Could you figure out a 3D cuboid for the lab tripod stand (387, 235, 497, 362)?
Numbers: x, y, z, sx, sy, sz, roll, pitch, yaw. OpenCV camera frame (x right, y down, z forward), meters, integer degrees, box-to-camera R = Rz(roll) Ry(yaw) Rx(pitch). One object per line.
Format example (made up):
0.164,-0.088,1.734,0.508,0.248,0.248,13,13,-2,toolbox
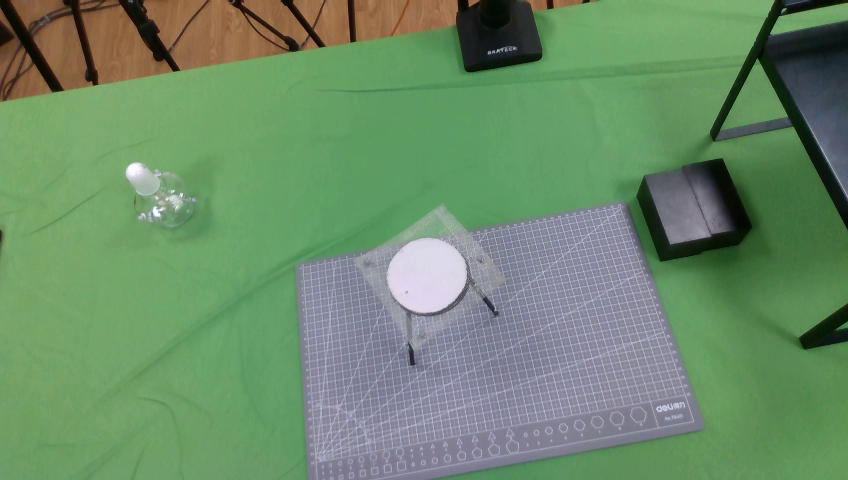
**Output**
0.009,0.060,0.705,0.148,0.132,0.147,-3,64,7,lab tripod stand

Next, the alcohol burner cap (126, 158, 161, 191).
-0.369,-0.088,0.790,0.034,0.048,0.033,0,65,0,alcohol burner cap

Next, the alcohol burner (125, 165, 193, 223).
-0.365,-0.072,0.822,0.078,0.120,0.077,-2,66,6,alcohol burner

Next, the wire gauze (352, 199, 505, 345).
0.004,0.029,0.645,0.121,0.011,0.124,-34,65,-8,wire gauze
